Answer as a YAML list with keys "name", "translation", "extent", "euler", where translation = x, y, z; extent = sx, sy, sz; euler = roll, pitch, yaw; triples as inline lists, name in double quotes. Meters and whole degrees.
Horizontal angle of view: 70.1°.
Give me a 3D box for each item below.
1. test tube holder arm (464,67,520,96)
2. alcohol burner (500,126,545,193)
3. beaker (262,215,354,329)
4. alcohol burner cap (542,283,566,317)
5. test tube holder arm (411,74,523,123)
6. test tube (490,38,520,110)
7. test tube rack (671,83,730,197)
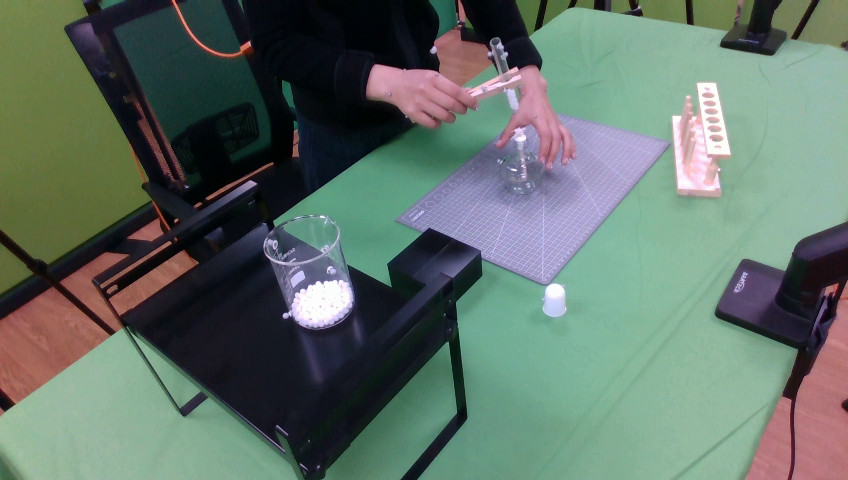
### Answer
- name: "test tube holder arm"
  translation: [0.103, -0.233, 0.908]
  extent: [0.087, 0.015, 0.010]
  euler: [-24, 54, 11]
- name: "alcohol burner"
  translation: [0.169, -0.141, 1.039]
  extent: [0.078, 0.119, 0.077]
  euler: [-5, 41, 5]
- name: "beaker"
  translation: [-0.112, 0.034, 0.616]
  extent: [0.073, 0.101, 0.084]
  euler: [13, 44, 23]
- name: "alcohol burner cap"
  translation: [0.182, 0.081, 0.839]
  extent: [0.034, 0.048, 0.033]
  euler: [-3, 40, 3]
- name: "test tube holder arm"
  translation: [0.062, -0.213, 0.915]
  extent: [0.178, 0.015, 0.013]
  euler: [-19, 55, 15]
- name: "test tube"
  translation: [0.122, -0.241, 0.894]
  extent: [0.017, 0.151, 0.017]
  euler: [-8, 62, 17]
- name: "test tube rack"
  translation: [0.482, -0.184, 1.067]
  extent: [0.066, 0.085, 0.242]
  euler: [5, 42, 15]
